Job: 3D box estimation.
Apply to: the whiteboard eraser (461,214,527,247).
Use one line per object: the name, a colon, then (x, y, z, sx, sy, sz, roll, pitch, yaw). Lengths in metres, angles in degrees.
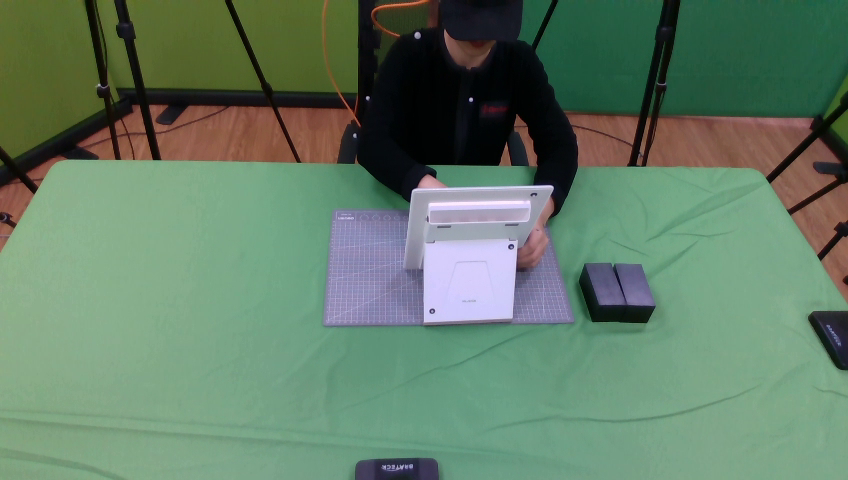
whiteboard eraser: (0.126, -0.014, 1.091, 0.112, 0.056, 0.041, -10, 70, 18)

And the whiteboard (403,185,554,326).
whiteboard: (0.081, 0.044, 1.005, 0.217, 0.306, 0.143, -1, 65, -5)
